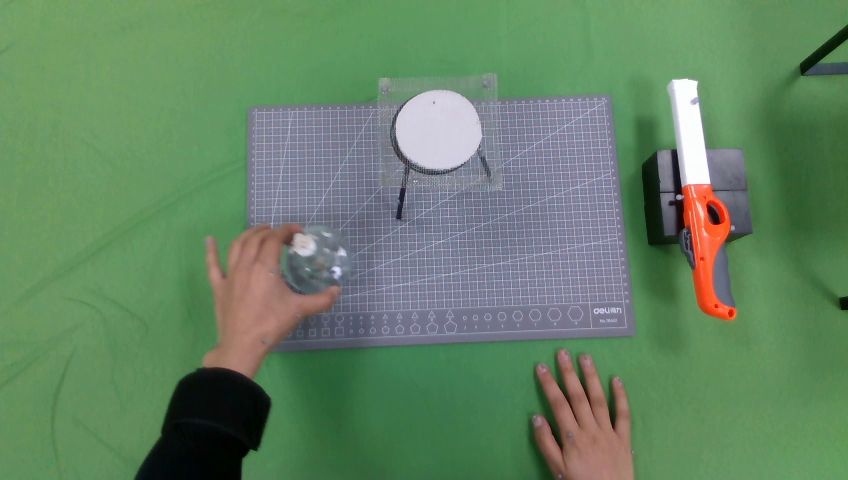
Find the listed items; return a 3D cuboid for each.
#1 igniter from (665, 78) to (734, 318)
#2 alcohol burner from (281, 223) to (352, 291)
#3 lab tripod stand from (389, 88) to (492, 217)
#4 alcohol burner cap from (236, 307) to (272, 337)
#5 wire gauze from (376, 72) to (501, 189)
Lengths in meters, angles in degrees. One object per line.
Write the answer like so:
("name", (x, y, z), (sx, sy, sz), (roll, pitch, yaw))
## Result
("igniter", (0.304, -0.051, 0.674), (0.057, 0.025, 0.275), (-2, 77, -4))
("alcohol burner", (-0.119, 0.015, 0.653), (0.078, 0.119, 0.077), (0, 79, 0))
("lab tripod stand", (0.007, -0.101, 0.670), (0.148, 0.132, 0.147), (0, 78, 1))
("alcohol burner cap", (-0.193, 0.090, 0.677), (0.034, 0.048, 0.033), (0, 75, 1))
("wire gauze", (0.014, -0.110, 0.604), (0.125, 0.011, 0.121), (0, 79, 0))
